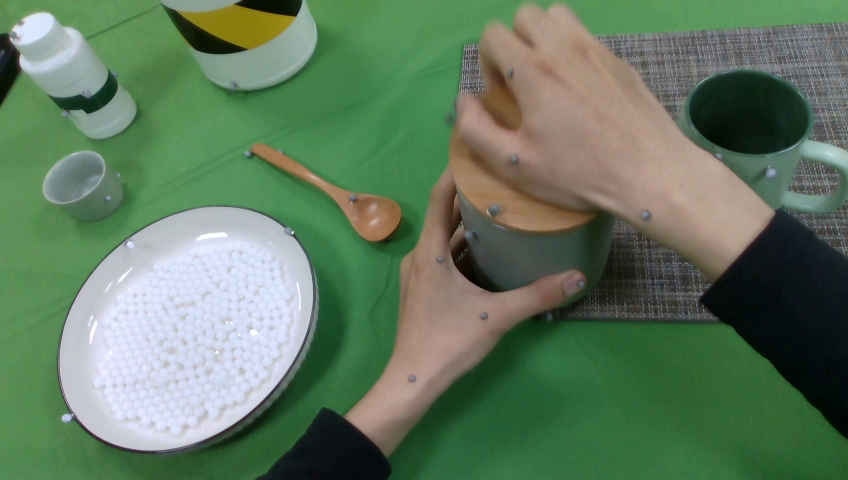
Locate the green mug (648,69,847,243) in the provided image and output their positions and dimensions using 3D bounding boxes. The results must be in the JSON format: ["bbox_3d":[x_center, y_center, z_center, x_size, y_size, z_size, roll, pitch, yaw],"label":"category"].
[{"bbox_3d":[0.232,-0.053,0.435,0.124,0.106,0.092,19,64,20],"label":"green mug"}]

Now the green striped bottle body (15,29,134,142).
[{"bbox_3d":[-0.348,-0.157,0.598,0.063,0.120,0.062,-5,59,8],"label":"green striped bottle body"}]

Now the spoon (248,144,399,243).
[{"bbox_3d":[-0.096,-0.050,0.546,0.192,0.022,0.041,31,85,25],"label":"spoon"}]

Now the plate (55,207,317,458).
[{"bbox_3d":[-0.183,0.069,0.482,0.209,0.038,0.207,-4,59,7],"label":"plate"}]

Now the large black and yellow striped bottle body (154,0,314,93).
[{"bbox_3d":[-0.196,-0.251,0.587,0.130,0.186,0.129,-5,59,8],"label":"large black and yellow striped bottle body"}]

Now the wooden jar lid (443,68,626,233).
[{"bbox_3d":[0.066,-0.053,0.366,0.108,0.021,0.107,-1,73,3],"label":"wooden jar lid"}]

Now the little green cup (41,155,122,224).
[{"bbox_3d":[-0.322,-0.046,0.575,0.061,0.039,0.061,-5,58,8],"label":"little green cup"}]

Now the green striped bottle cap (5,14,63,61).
[{"bbox_3d":[-0.356,-0.185,0.554,0.044,0.020,0.044,-3,61,6],"label":"green striped bottle cap"}]

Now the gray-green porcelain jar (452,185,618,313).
[{"bbox_3d":[0.078,-0.015,0.427,0.106,0.128,0.105,-4,58,7],"label":"gray-green porcelain jar"}]
